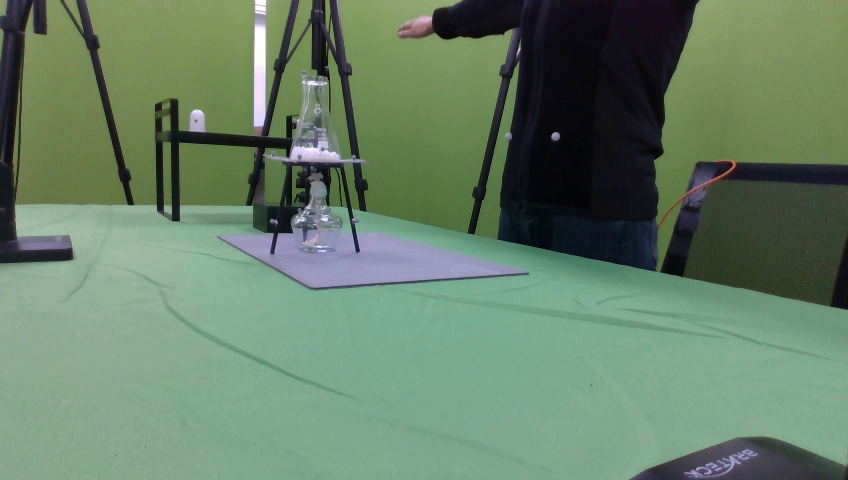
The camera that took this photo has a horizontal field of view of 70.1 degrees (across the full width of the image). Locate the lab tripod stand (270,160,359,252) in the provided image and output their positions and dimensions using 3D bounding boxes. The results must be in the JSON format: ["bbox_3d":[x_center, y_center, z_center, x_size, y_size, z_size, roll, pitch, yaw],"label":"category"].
[{"bbox_3d":[-0.167,-0.051,0.892,0.148,0.131,0.148,4,9,0],"label":"lab tripod stand"}]

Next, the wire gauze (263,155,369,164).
[{"bbox_3d":[-0.160,-0.116,0.888,0.122,0.011,0.124,-1,6,-32],"label":"wire gauze"}]

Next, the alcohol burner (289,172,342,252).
[{"bbox_3d":[-0.160,-0.042,0.899,0.078,0.119,0.078,4,9,0],"label":"alcohol burner"}]

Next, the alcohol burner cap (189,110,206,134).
[{"bbox_3d":[-0.464,-0.242,1.240,0.034,0.048,0.034,3,6,0],"label":"alcohol burner cap"}]

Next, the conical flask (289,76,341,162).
[{"bbox_3d":[-0.159,-0.175,0.882,0.075,0.122,0.075,1,9,0],"label":"conical flask"}]
